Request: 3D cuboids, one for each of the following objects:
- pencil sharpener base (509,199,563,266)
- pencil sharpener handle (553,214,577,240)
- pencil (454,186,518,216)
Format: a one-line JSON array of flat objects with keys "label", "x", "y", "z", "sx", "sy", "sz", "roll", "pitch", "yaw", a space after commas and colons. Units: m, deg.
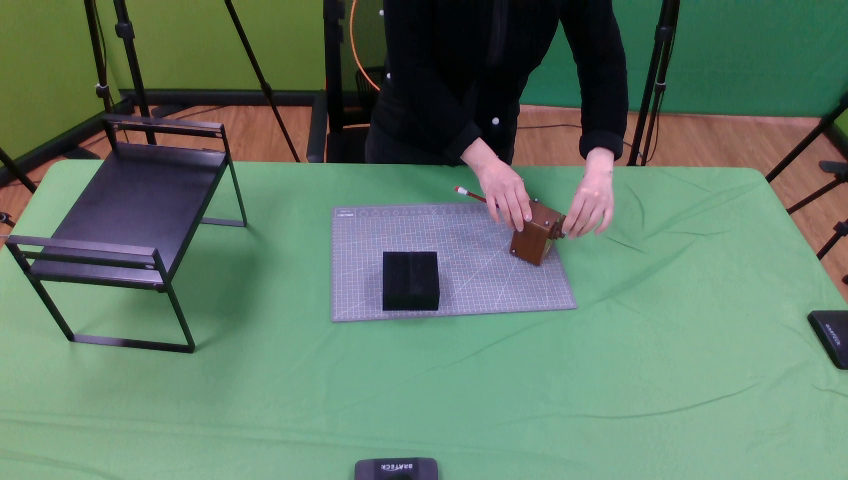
[{"label": "pencil sharpener base", "x": 0.216, "y": -0.012, "z": 1.160, "sx": 0.076, "sy": 0.107, "sz": 0.061, "roll": 27, "pitch": 50, "yaw": 20}, {"label": "pencil sharpener handle", "x": 0.259, "y": -0.020, "z": 1.110, "sx": 0.030, "sy": 0.068, "sz": 0.036, "roll": 27, "pitch": 58, "yaw": 21}, {"label": "pencil", "x": 0.142, "y": -0.066, "z": 1.175, "sx": 0.193, "sy": 0.012, "sz": 0.012, "roll": 26, "pitch": 50, "yaw": 22}]
